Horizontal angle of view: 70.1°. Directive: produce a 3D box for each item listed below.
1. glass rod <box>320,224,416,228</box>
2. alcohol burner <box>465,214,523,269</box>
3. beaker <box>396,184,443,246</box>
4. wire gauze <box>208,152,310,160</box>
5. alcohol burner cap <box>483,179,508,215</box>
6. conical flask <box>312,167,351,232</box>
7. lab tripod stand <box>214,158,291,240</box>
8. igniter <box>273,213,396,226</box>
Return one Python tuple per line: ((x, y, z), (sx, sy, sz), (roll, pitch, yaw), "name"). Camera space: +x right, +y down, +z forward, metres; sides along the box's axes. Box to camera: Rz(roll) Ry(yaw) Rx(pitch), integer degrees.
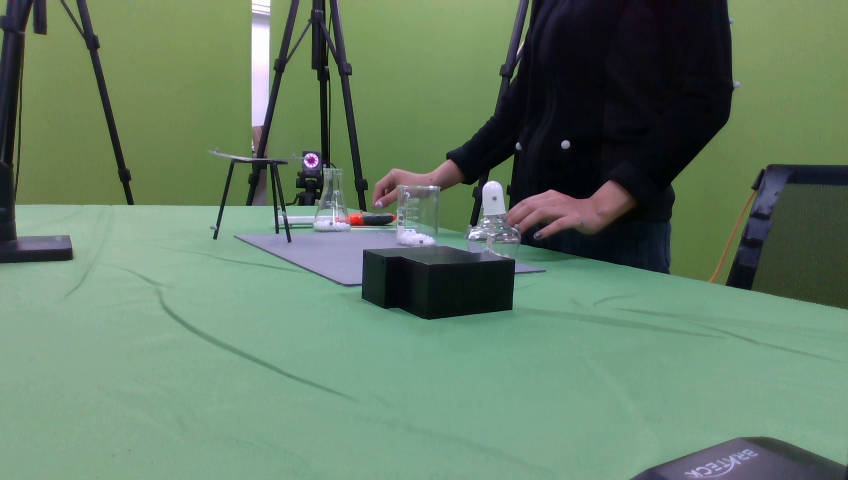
((-0.113, -0.028, 1.236), (0.200, 0.008, 0.008), (0, 7, -18), "glass rod")
((0.094, -0.022, 0.815), (0.078, 0.119, 0.078), (0, 7, 0), "alcohol burner")
((-0.011, -0.043, 1.004), (0.083, 0.100, 0.074), (8, 9, 39), "beaker")
((-0.270, -0.135, 0.993), (0.124, 0.011, 0.122), (8, 8, 41), "wire gauze")
((0.094, -0.057, 0.810), (0.034, 0.048, 0.034), (-8, 6, 1), "alcohol burner cap")
((-0.176, -0.078, 1.162), (0.075, 0.122, 0.075), (3, 7, 0), "conical flask")
((-0.268, -0.068, 1.002), (0.148, 0.131, 0.148), (3, 6, 0), "lab tripod stand")
((-0.179, -0.043, 1.258), (0.278, 0.025, 0.057), (-3, -1, -39), "igniter")
